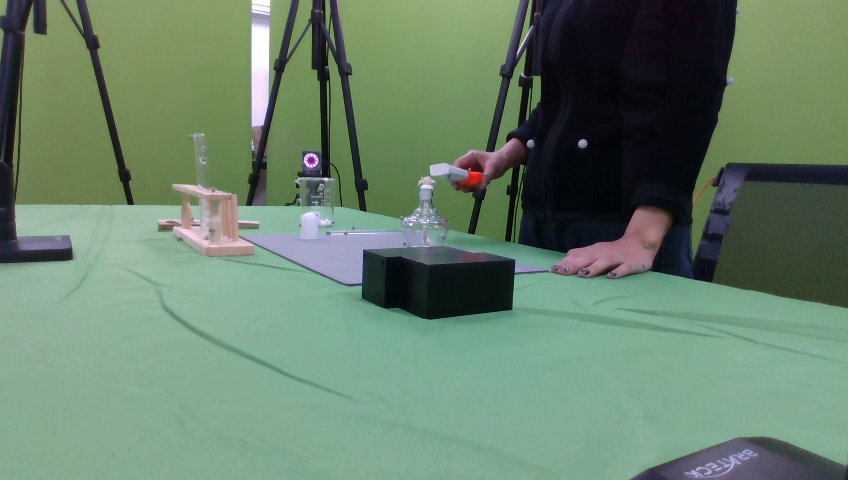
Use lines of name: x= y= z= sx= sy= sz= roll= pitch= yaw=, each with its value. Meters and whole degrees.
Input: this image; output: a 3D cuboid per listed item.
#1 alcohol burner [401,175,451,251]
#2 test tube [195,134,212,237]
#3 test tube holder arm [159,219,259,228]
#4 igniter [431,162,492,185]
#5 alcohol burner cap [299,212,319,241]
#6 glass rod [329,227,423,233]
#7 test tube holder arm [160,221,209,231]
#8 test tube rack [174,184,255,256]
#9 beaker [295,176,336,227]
alcohol burner: x=0.003 y=-0.042 z=0.947 sx=0.078 sy=0.119 sz=0.078 roll=1 pitch=9 yaw=0
test tube: x=-0.320 y=-0.079 z=0.880 sx=0.017 sy=0.150 sz=0.017 roll=-3 pitch=3 yaw=1
test tube holder arm: x=-0.390 y=-0.030 z=1.107 sx=0.179 sy=0.015 sz=0.013 roll=-4 pitch=45 yaw=-39
igniter: x=0.072 y=-0.118 z=1.088 sx=0.057 sy=0.025 sz=0.277 roll=-6 pitch=0 yaw=20
alcohol burner cap: x=-0.195 y=-0.024 z=1.025 sx=0.034 sy=0.048 sz=0.034 roll=3 pitch=7 yaw=0
glass rod: x=-0.087 y=-0.019 z=1.148 sx=0.201 sy=0.008 sz=0.008 roll=-3 pitch=8 yaw=-32
test tube holder arm: x=-0.423 y=-0.025 z=1.076 sx=0.088 sy=0.015 sz=0.010 roll=-3 pitch=44 yaw=-38
test tube rack: x=-0.327 y=-0.036 z=0.928 sx=0.067 sy=0.085 sz=0.241 roll=-2 pitch=9 yaw=-32
beaker: x=-0.224 y=-0.080 z=1.247 sx=0.084 sy=0.100 sz=0.073 roll=-1 pitch=8 yaw=-18
